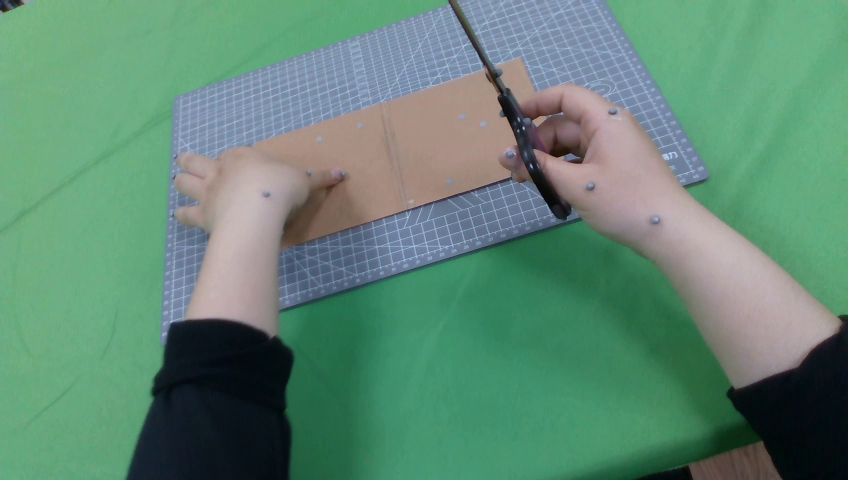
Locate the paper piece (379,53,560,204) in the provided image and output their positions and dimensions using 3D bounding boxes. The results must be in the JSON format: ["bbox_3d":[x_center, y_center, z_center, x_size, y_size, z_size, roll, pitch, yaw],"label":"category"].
[{"bbox_3d":[0.034,-0.103,0.532,0.135,0.004,0.134,-16,56,5],"label":"paper piece"}]

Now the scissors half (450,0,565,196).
[{"bbox_3d":[0.049,-0.100,0.389,0.013,0.176,0.039,-23,26,25],"label":"scissors half"}]

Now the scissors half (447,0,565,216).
[{"bbox_3d":[0.045,-0.091,0.372,0.013,0.176,0.040,-26,11,20],"label":"scissors half"}]

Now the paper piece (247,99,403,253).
[{"bbox_3d":[-0.094,-0.063,0.544,0.138,0.009,0.134,-17,53,6],"label":"paper piece"}]
